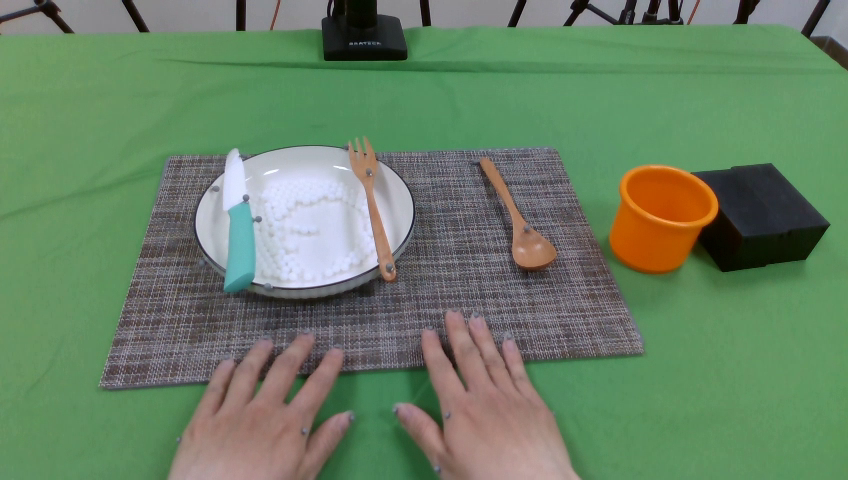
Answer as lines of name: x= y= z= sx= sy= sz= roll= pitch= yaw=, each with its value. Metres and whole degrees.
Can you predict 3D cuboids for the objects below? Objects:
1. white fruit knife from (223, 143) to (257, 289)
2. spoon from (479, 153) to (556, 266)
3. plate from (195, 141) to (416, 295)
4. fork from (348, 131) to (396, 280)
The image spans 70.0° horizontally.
white fruit knife: x=-0.174 y=-0.033 z=0.569 sx=0.027 sy=0.016 sz=0.205 roll=-10 pitch=46 yaw=-10
spoon: x=0.091 y=-0.039 z=0.638 sx=0.041 sy=0.022 sz=0.191 roll=-20 pitch=47 yaw=1
plate: x=-0.112 y=-0.023 z=0.594 sx=0.209 sy=0.038 sz=0.207 roll=2 pitch=45 yaw=-2
fork: x=-0.051 y=-0.041 z=0.587 sx=0.028 sy=0.019 sz=0.205 roll=-14 pitch=46 yaw=-3
